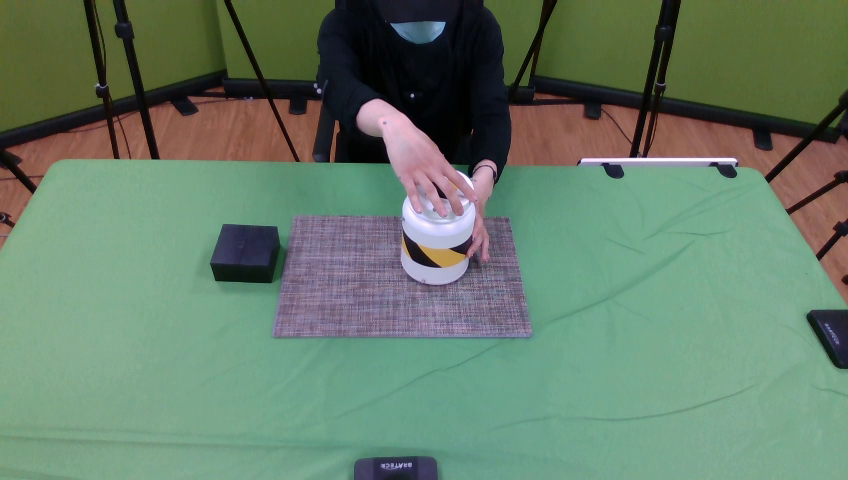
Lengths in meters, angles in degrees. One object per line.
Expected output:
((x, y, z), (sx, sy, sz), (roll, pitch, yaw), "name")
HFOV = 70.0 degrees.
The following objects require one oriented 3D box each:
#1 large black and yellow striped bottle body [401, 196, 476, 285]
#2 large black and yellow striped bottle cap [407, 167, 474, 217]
((0.025, -0.022, 1.100), (0.131, 0.185, 0.130), (2, 46, -2), "large black and yellow striped bottle body")
((0.028, -0.083, 1.036), (0.115, 0.019, 0.114), (1, 46, -1), "large black and yellow striped bottle cap")
